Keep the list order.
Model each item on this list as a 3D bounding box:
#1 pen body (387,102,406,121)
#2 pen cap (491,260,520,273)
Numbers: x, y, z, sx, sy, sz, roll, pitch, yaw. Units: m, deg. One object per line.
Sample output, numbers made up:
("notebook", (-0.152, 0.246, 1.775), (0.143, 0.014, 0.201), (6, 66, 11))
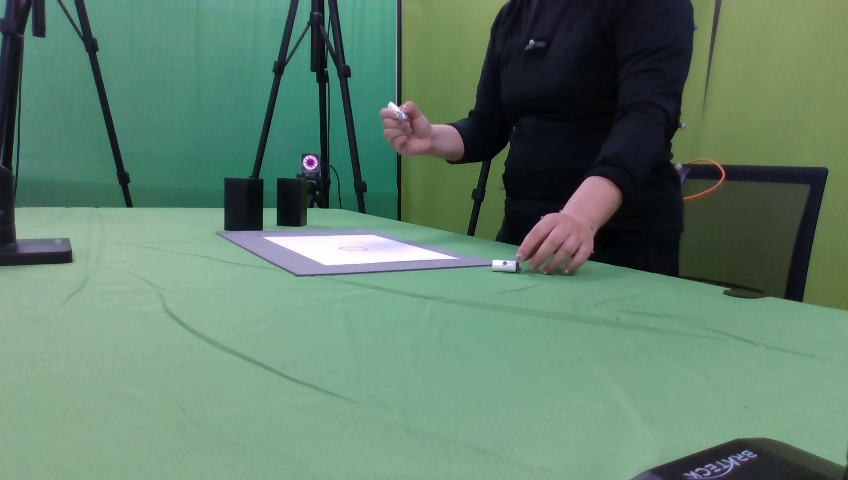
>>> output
("pen body", (-0.049, -0.235, 1.114), (0.017, 0.017, 0.143), (1, 21, -14))
("pen cap", (0.110, 0.036, 0.813), (0.038, 0.017, 0.017), (4, 7, 7))
